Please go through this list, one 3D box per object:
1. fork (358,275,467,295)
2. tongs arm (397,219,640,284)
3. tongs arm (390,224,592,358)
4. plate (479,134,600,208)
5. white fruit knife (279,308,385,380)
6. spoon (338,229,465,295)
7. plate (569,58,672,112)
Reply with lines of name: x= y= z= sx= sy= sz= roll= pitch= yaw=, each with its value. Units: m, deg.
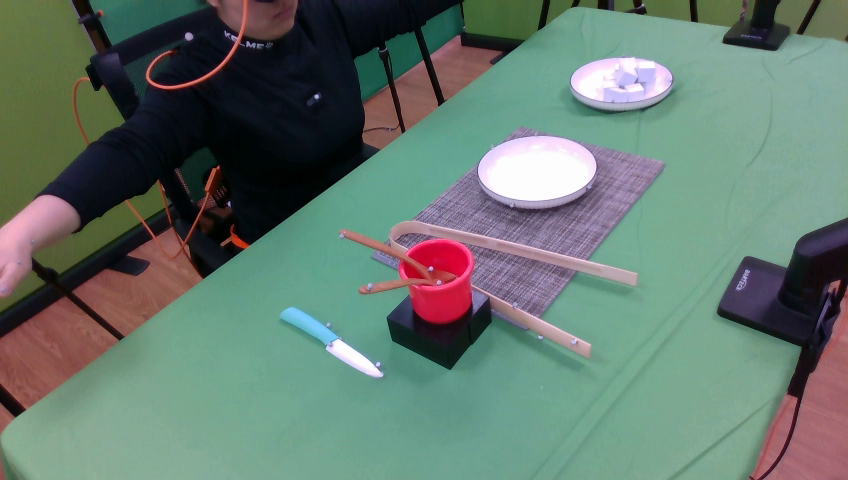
fork: x=-0.009 y=0.056 z=0.739 sx=0.028 sy=0.018 sz=0.209 roll=48 pitch=23 yaw=26
tongs arm: x=0.131 y=0.015 z=0.926 sx=0.385 sy=0.028 sz=0.028 roll=13 pitch=50 yaw=25
tongs arm: x=0.082 y=0.063 z=0.879 sx=0.381 sy=0.026 sz=0.051 roll=25 pitch=52 yaw=34
plate: x=0.202 y=-0.117 z=1.065 sx=0.207 sy=0.039 sz=0.206 roll=-5 pitch=40 yaw=5
white fruit knife: x=-0.130 y=0.143 z=0.845 sx=0.205 sy=0.016 sz=0.027 roll=25 pitch=79 yaw=32
spoon: x=-0.025 y=0.026 z=0.776 sx=0.021 sy=0.195 sz=0.041 roll=-40 pitch=34 yaw=32
plate: x=0.411 y=-0.323 z=1.274 sx=0.209 sy=0.038 sz=0.208 roll=-5 pitch=41 yaw=5
